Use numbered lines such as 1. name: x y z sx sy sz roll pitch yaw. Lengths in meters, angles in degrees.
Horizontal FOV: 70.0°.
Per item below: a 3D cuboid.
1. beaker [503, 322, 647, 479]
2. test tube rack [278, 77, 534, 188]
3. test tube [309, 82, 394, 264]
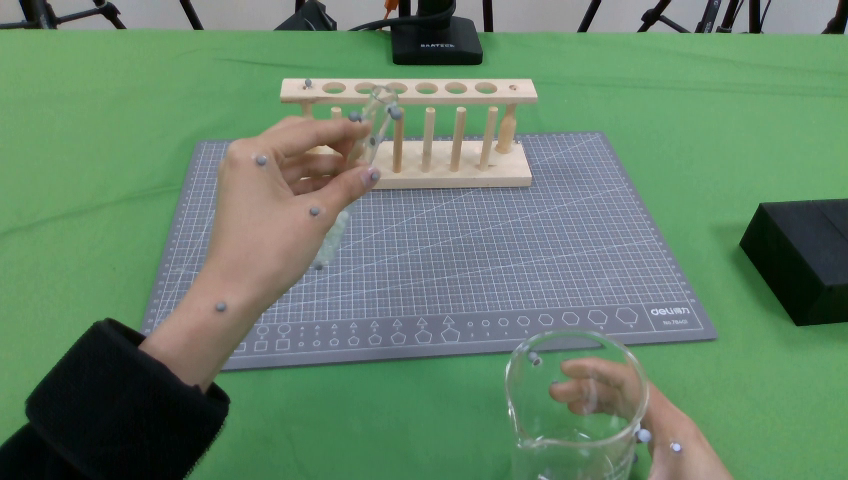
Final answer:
1. beaker: 0.081 0.110 0.348 0.084 0.101 0.073 -37 48 -28
2. test tube rack: -0.016 -0.106 0.597 0.243 0.086 0.066 -1 44 -5
3. test tube: -0.049 -0.034 0.380 0.017 0.151 0.017 15 45 -15
